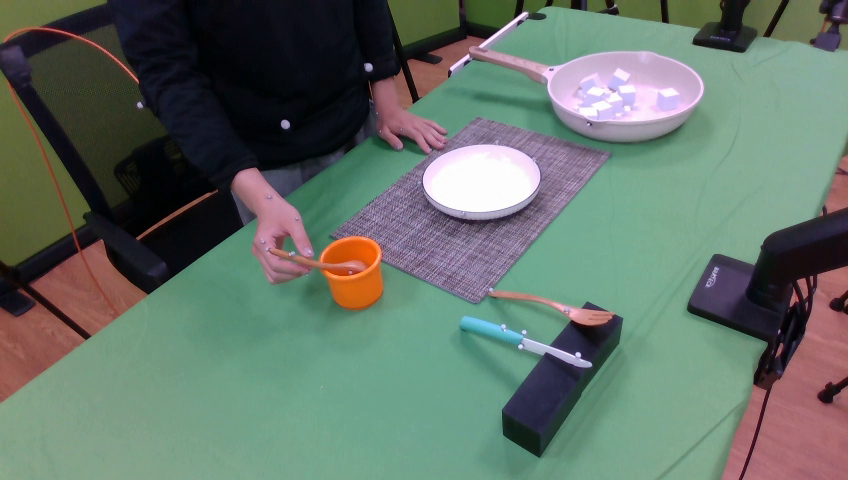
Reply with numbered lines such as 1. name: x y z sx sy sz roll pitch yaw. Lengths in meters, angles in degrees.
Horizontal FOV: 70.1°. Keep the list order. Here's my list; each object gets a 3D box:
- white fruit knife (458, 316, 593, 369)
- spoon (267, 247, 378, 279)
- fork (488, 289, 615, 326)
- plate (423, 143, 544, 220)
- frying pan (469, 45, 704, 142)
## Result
1. white fruit knife: 0.120 0.127 0.757 0.205 0.027 0.016 12 44 43
2. spoon: -0.136 0.033 0.844 0.195 0.021 0.041 12 17 -47
3. fork: 0.160 0.086 0.800 0.205 0.019 0.028 12 48 48
4. plate: 0.102 -0.097 1.048 0.207 0.039 0.206 -4 40 4
5. frying pan: 0.307 -0.326 1.239 0.485 0.103 0.307 26 49 22
